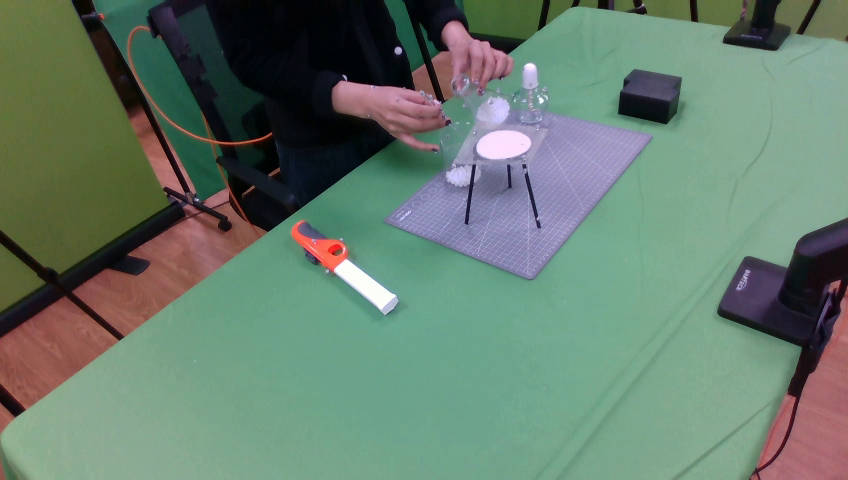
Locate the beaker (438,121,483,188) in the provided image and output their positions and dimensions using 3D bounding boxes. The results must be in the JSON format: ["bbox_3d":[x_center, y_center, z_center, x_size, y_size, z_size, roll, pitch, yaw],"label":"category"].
[{"bbox_3d":[0.066,-0.149,1.083,0.073,0.101,0.084,19,49,31],"label":"beaker"}]

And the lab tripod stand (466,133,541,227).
[{"bbox_3d":[0.129,-0.099,0.985,0.148,0.132,0.147,-6,38,6],"label":"lab tripod stand"}]

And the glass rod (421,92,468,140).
[{"bbox_3d":[0.037,-0.204,1.006,0.008,0.201,0.008,-5,77,23],"label":"glass rod"}]

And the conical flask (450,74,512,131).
[{"bbox_3d":[0.094,-0.246,1.060,0.075,0.123,0.075,-14,66,35],"label":"conical flask"}]

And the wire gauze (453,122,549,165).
[{"bbox_3d":[0.121,-0.150,0.942,0.121,0.011,0.125,8,42,21],"label":"wire gauze"}]

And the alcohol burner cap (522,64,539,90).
[{"bbox_3d":[0.210,-0.325,1.195,0.034,0.048,0.033,-6,45,7],"label":"alcohol burner cap"}]

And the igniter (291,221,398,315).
[{"bbox_3d":[-0.136,0.037,0.962,0.057,0.025,0.274,-41,48,-18],"label":"igniter"}]

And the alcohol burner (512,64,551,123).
[{"bbox_3d":[0.215,-0.298,1.220,0.078,0.120,0.077,-7,40,7],"label":"alcohol burner"}]
